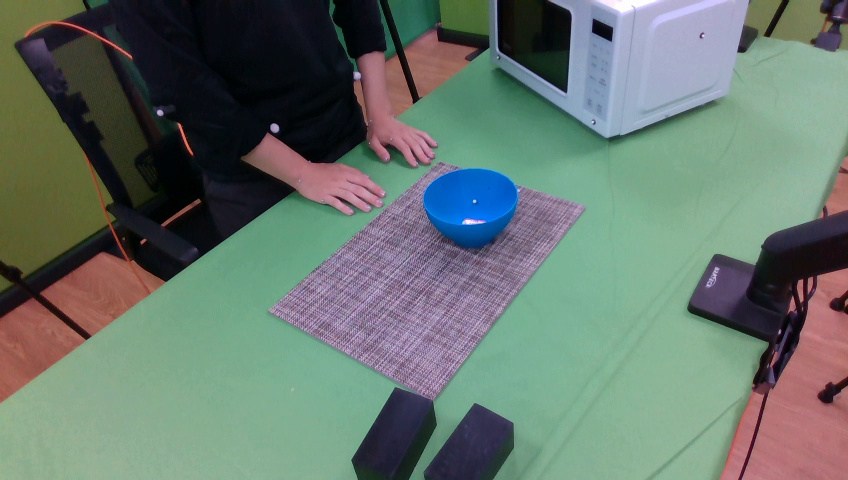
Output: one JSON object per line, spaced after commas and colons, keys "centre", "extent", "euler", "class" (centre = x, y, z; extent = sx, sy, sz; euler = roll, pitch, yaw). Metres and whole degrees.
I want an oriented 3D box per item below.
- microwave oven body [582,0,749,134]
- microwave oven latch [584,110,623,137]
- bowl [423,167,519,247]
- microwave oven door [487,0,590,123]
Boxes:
{"centre": [0.382, -0.445, 1.246], "extent": [0.327, 0.261, 0.437], "euler": [-22, 42, -16], "class": "microwave oven body"}
{"centre": [0.337, -0.222, 1.142], "extent": [0.030, 0.029, 0.078], "euler": [-21, 42, -14], "class": "microwave oven latch"}
{"centre": [0.075, -0.041, 0.959], "extent": [0.151, 0.077, 0.150], "euler": [-4, 40, 4], "class": "bowl"}
{"centre": [0.232, -0.420, 1.231], "extent": [0.039, 0.245, 0.352], "euler": [-22, 43, -16], "class": "microwave oven door"}
